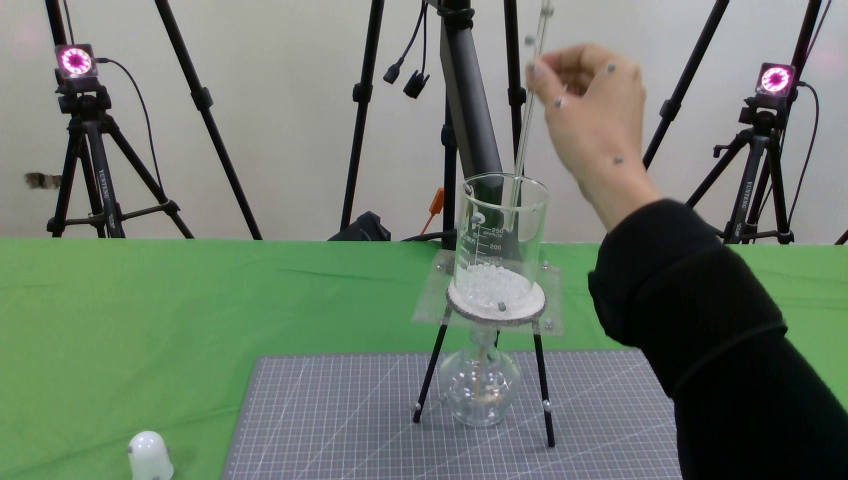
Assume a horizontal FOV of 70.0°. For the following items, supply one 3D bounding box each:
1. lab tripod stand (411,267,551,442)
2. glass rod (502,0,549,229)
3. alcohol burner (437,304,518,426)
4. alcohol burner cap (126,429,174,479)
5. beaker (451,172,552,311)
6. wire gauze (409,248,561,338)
[{"bbox_3d":[0.063,0.104,0.562,0.148,0.132,0.147,4,27,-2],"label":"lab tripod stand"},{"bbox_3d":[0.076,-0.096,0.459,0.008,0.201,0.008,4,31,-2],"label":"glass rod"},{"bbox_3d":[0.051,0.113,0.565,0.078,0.120,0.077,1,26,0],"label":"alcohol burner"},{"bbox_3d":[-0.228,0.179,0.500,0.034,0.048,0.033,1,27,0],"label":"alcohol burner cap"},{"bbox_3d":[0.059,0.001,0.510,0.074,0.101,0.083,-22,37,-40],"label":"beaker"},{"bbox_3d":[0.059,0.045,0.531,0.121,0.011,0.124,7,30,9],"label":"wire gauze"}]
